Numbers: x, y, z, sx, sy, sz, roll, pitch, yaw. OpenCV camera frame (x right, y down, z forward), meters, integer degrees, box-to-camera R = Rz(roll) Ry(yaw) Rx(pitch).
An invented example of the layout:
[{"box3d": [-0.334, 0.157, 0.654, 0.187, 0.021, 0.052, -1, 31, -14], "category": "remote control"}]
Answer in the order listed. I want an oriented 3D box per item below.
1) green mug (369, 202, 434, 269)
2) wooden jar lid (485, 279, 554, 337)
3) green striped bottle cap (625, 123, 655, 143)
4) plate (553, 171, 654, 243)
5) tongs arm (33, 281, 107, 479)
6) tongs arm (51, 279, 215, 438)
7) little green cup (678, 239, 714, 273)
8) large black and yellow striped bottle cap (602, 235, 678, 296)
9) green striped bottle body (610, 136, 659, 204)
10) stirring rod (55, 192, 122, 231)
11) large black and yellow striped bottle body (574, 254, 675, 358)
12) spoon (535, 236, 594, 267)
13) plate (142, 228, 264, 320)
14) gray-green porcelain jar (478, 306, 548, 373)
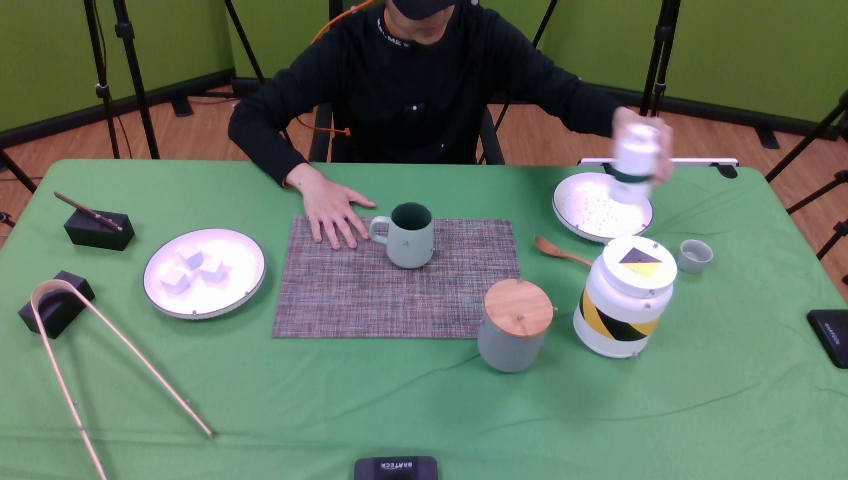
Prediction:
[{"box3d": [-0.042, -0.010, 1.140, 0.125, 0.105, 0.092, 7, 47, 3], "category": "green mug"}, {"box3d": [0.147, 0.108, 0.940, 0.108, 0.021, 0.107, 4, 47, -4], "category": "wooden jar lid"}, {"box3d": [0.339, -0.167, 0.949, 0.044, 0.020, 0.044, -3, 30, 2], "category": "green striped bottle cap"}, {"box3d": [0.373, -0.066, 1.275, 0.209, 0.038, 0.208, 2, 46, -2], "category": "plate"}, {"box3d": [-0.517, 0.214, 0.910, 0.051, 0.026, 0.383, -28, 63, -27], "category": "tongs arm"}, {"box3d": [-0.459, 0.179, 0.950, 0.386, 0.028, 0.028, 37, 60, 17], "category": "tongs arm"}, {"box3d": [0.530, 0.033, 1.190, 0.061, 0.039, 0.061, 2, 47, -2], "category": "little green cup"}, {"box3d": [0.340, 0.037, 0.956, 0.115, 0.019, 0.114, 2, 47, -1], "category": "large black and yellow striped bottle cap"}, {"box3d": [0.340, -0.123, 0.978, 0.063, 0.120, 0.063, 0, 31, 0], "category": "green striped bottle body"}, {"box3d": [-0.632, -0.055, 1.138, 0.175, 0.014, 0.006, 24, 50, 19], "category": "stirring rod"}, {"box3d": [0.335, 0.096, 1.014, 0.131, 0.185, 0.130, 2, 46, -2], "category": "large black and yellow striped bottle body"}, {"box3d": [0.303, 0.040, 1.178, 0.193, 0.022, 0.041, 25, 31, 19], "category": "spoon"}, {"box3d": [-0.394, 0.064, 1.095, 0.208, 0.039, 0.206, 2, 46, -2], "category": "plate"}, {"box3d": [0.144, 0.148, 0.989, 0.106, 0.127, 0.105, 2, 50, -2], "category": "gray-green porcelain jar"}]
